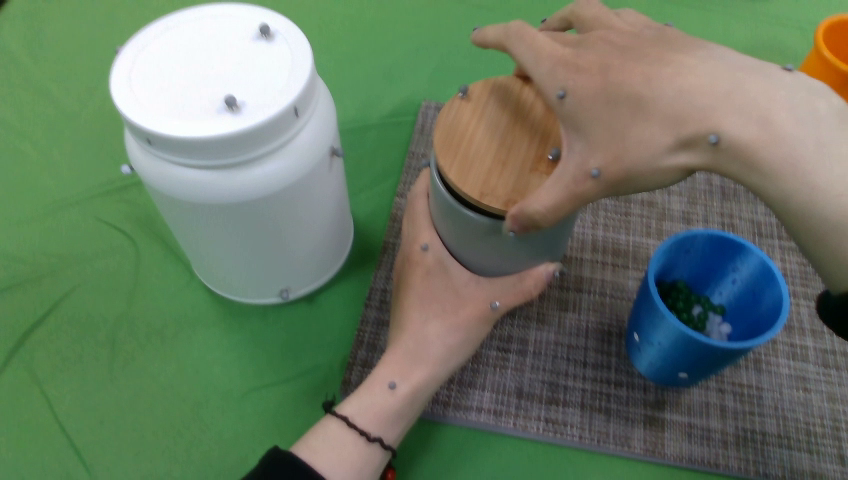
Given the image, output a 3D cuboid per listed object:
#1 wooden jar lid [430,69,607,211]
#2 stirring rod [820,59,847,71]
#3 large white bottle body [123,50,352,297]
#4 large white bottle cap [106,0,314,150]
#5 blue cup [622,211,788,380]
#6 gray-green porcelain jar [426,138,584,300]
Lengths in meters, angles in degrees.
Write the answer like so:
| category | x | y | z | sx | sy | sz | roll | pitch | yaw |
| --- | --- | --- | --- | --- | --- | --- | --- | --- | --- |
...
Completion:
| category | x | y | z | sx | sy | sz | roll | pitch | yaw |
| --- | --- | --- | --- | --- | --- | --- | --- | --- | --- |
| wooden jar lid | 0.058 | -0.061 | 0.377 | 0.108 | 0.021 | 0.107 | 1 | 59 | 0 |
| stirring rod | 0.382 | -0.155 | 0.529 | 0.014 | 0.006 | 0.176 | 16 | 16 | 13 |
| large white bottle body | -0.123 | -0.055 | 0.423 | 0.130 | 0.186 | 0.129 | 1 | 58 | -1 |
| large white bottle cap | -0.122 | -0.100 | 0.351 | 0.115 | 0.018 | 0.114 | 1 | 58 | -1 |
| blue cup | 0.178 | 0.050 | 0.412 | 0.092 | 0.101 | 0.092 | 0 | 57 | 0 |
| gray-green porcelain jar | 0.054 | -0.023 | 0.439 | 0.106 | 0.127 | 0.105 | 1 | 58 | -1 |
